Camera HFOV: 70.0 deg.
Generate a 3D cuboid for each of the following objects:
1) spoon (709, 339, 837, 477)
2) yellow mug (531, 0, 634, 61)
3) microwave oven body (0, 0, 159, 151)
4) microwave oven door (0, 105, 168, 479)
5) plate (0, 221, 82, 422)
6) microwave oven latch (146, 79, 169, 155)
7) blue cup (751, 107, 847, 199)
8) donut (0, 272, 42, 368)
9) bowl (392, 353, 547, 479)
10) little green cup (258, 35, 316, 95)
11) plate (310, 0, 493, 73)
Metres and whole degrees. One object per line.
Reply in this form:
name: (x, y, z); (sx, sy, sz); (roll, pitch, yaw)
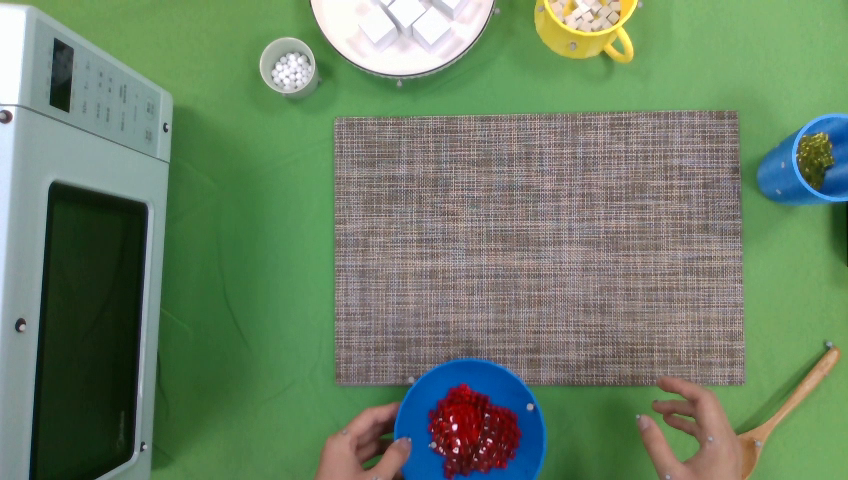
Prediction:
spoon: (0.379, 0.179, 0.651); (0.193, 0.022, 0.041); (-45, 76, 0)
yellow mug: (0.179, -0.248, 0.651); (0.100, 0.064, 0.130); (-38, 88, 1)
microwave oven body: (-0.459, 0.031, 0.570); (0.326, 0.260, 0.441); (2, 89, 2)
microwave oven door: (-0.316, 0.080, 0.557); (0.039, 0.244, 0.355); (2, 88, 3)
plate: (-0.448, 0.082, 0.619); (0.209, 0.038, 0.209); (0, 90, 1)
microwave oven latch: (-0.298, -0.135, 0.664); (0.030, 0.029, 0.079); (4, 89, 2)
blue cup: (0.388, -0.080, 0.619); (0.092, 0.100, 0.092); (0, 86, 2)
donut: (-0.434, 0.080, 0.606); (0.099, 0.048, 0.099); (0, 93, 1)
bowl: (0.044, 0.190, 0.630); (0.151, 0.077, 0.151); (0, 84, 1)
little green cup: (-0.150, -0.192, 0.676); (0.061, 0.038, 0.061); (0, 89, 2)
plate: (-0.023, -0.286, 0.676); (0.207, 0.039, 0.207); (0, 88, 3)
